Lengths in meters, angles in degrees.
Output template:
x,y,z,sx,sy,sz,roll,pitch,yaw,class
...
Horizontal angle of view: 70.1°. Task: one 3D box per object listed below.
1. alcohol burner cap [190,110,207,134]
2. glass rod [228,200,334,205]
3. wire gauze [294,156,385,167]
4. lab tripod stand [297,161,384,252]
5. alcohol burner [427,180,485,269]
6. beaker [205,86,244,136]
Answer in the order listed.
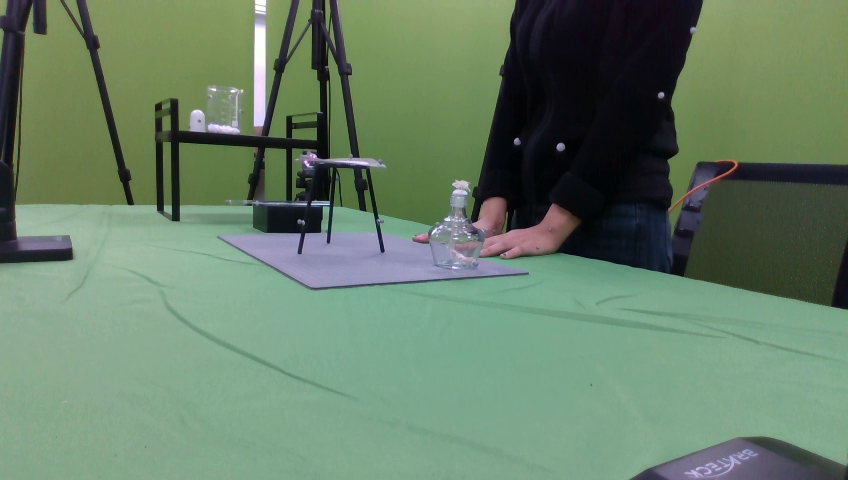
x,y,z,sx,sy,sz,roll,pitch,yaw,class
-0.464,-0.242,1.241,0.034,0.048,0.034,1,7,0,alcohol burner cap
-0.268,-0.071,1.148,0.201,0.008,0.008,-1,8,-28,glass rod
-0.128,-0.118,0.901,0.125,0.011,0.121,0,8,-14,wire gauze
-0.130,-0.051,0.903,0.148,0.131,0.148,3,9,0,lab tripod stand
0.044,-0.020,0.808,0.078,0.119,0.078,4,6,0,alcohol burner
-0.430,-0.278,1.310,0.084,0.100,0.074,5,8,13,beaker
